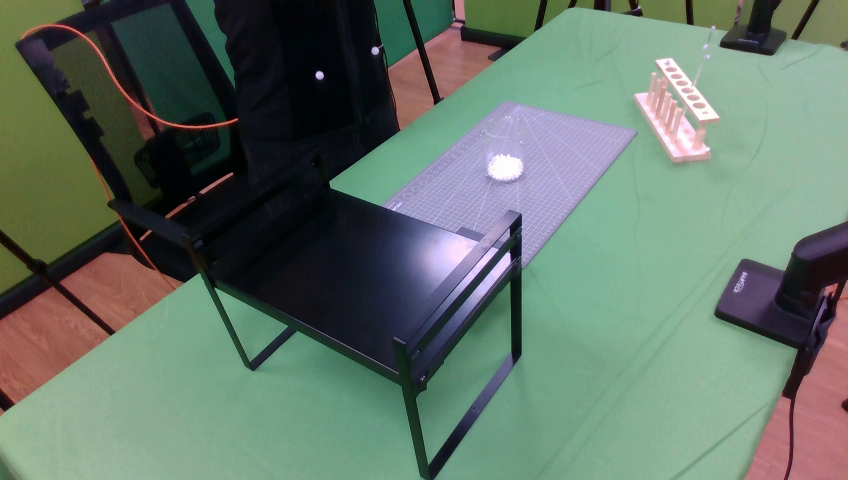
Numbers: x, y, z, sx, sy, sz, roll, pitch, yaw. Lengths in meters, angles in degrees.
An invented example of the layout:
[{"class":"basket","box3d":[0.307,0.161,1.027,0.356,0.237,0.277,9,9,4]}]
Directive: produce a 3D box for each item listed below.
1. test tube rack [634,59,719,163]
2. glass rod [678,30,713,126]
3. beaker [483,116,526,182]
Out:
[{"class":"test tube rack","box3d":[0.470,-0.250,1.148,0.067,0.085,0.241,-6,40,3]},{"class":"glass rod","box3d":[0.485,-0.284,1.084,0.008,0.200,0.008,-1,49,2]},{"class":"beaker","box3d":[0.147,-0.162,1.079,0.073,0.101,0.084,13,44,22]}]
